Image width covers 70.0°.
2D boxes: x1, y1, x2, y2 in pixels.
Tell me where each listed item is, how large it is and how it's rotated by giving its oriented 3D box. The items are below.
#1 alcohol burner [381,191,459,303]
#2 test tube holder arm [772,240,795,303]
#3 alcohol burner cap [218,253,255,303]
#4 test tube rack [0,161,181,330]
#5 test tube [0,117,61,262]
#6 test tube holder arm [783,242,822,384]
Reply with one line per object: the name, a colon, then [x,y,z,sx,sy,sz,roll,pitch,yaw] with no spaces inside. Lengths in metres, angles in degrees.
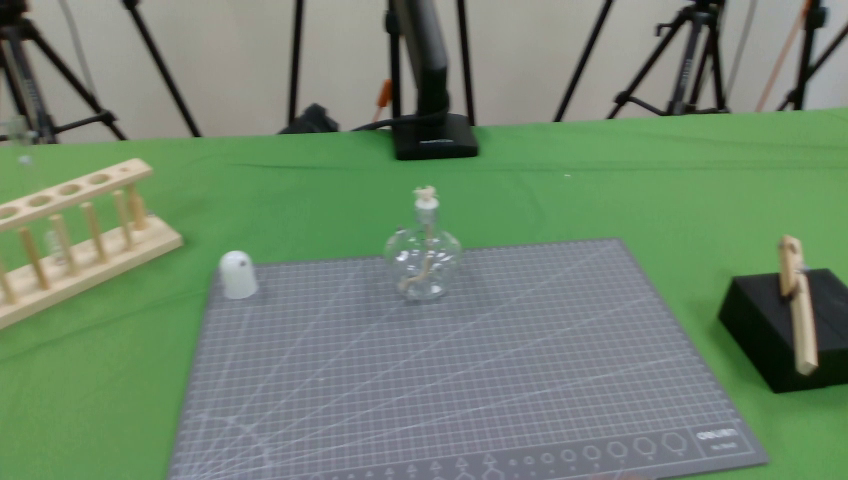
alcohol burner: [-0.004,0.003,0.588,0.078,0.120,0.077,2,37,-1]
test tube holder arm: [0.338,0.029,0.569,0.010,0.015,0.087,14,39,14]
alcohol burner cap: [-0.186,0.034,0.597,0.034,0.048,0.033,2,37,-1]
test tube rack: [-0.374,0.011,0.590,0.066,0.086,0.242,29,44,33]
test tube: [-0.376,-0.044,0.582,0.017,0.151,0.017,1,30,0]
test tube holder arm: [0.329,0.056,0.533,0.013,0.015,0.177,13,38,12]
